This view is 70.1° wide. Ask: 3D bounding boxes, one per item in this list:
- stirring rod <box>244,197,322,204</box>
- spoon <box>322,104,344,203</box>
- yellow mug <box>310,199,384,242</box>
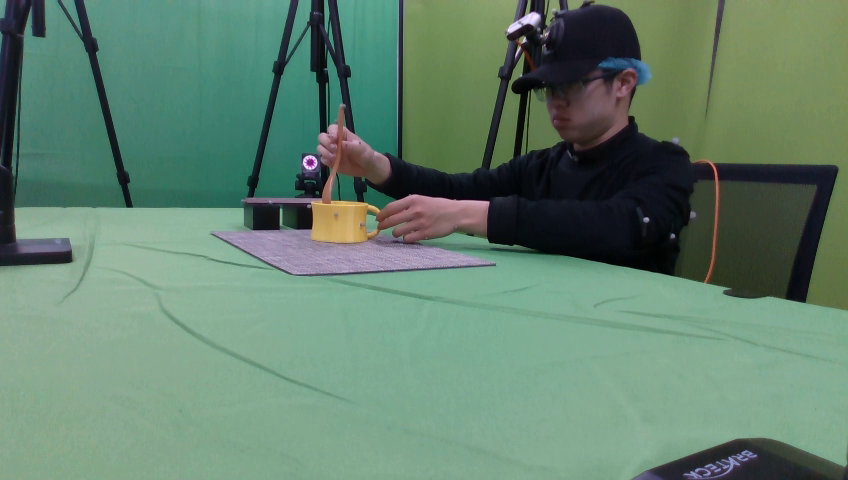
[{"bbox_3d":[-0.270,-0.079,1.201,0.177,0.006,0.014,-3,44,-37],"label":"stirring rod"},{"bbox_3d":[-0.154,-0.138,1.044,0.022,0.193,0.041,11,1,-20],"label":"spoon"},{"bbox_3d":[-0.132,-0.035,1.055,0.131,0.064,0.099,0,8,-23],"label":"yellow mug"}]
